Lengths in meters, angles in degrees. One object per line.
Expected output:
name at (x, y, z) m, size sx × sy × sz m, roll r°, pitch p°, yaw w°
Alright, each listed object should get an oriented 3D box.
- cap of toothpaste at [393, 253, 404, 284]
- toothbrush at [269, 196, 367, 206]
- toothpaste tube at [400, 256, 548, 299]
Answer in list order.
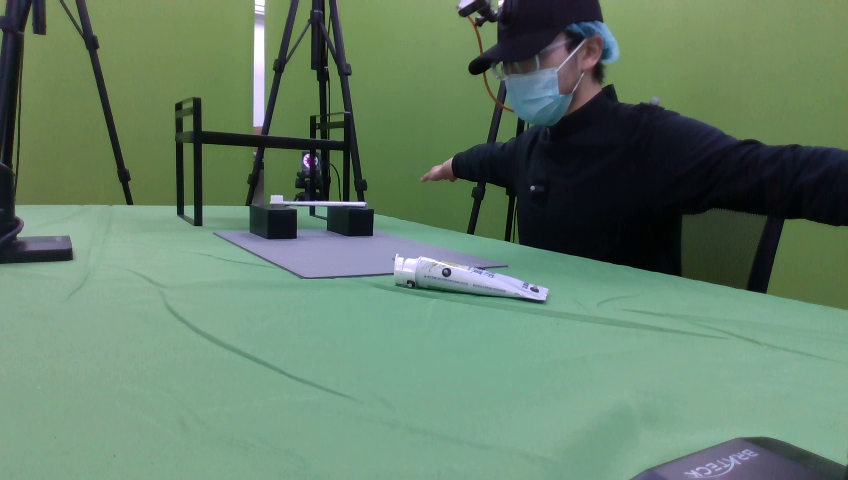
cap of toothpaste at (-0.028, 0.032, 0.678) m, size 0.011 × 0.037 × 0.037 m, roll 1°, pitch 8°, yaw 3°
toothbrush at (-0.187, -0.069, 1.088) m, size 0.183 × 0.016 × 0.014 m, roll 0°, pitch -3°, yaw -28°
toothpaste tube at (0.051, 0.044, 0.659) m, size 0.165 × 0.034 × 0.055 m, roll 8°, pitch 15°, yaw 12°
